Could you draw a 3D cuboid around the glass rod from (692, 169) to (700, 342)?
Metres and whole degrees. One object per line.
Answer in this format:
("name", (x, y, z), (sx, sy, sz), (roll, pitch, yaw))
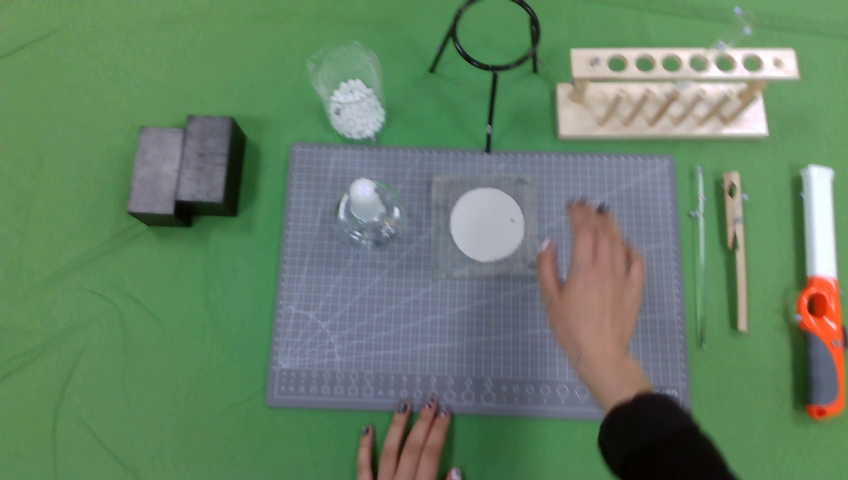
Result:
("glass rod", (0.307, 0.015, 0.683), (0.008, 0.008, 0.199), (5, 79, 1))

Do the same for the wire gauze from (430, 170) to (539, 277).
("wire gauze", (0.067, -0.020, 0.687), (0.121, 0.011, 0.124), (0, 79, -1))

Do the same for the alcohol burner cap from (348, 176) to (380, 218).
("alcohol burner cap", (-0.061, -0.046, 0.601), (0.034, 0.048, 0.033), (1, 66, -3))

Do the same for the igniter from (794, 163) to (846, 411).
("igniter", (0.433, 0.048, 0.665), (0.057, 0.025, 0.275), (9, 76, -8))

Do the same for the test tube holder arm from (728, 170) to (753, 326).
("test tube holder arm", (0.352, 0.007, 0.676), (0.013, 0.015, 0.177), (-11, 71, 36))

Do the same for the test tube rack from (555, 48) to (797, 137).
("test tube rack", (0.279, -0.165, 0.687), (0.242, 0.085, 0.066), (0, 76, 0))

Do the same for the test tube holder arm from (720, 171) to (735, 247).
("test tube holder arm", (0.348, -0.036, 0.691), (0.010, 0.015, 0.087), (-9, 72, 37))

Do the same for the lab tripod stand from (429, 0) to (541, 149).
("lab tripod stand", (0.069, -0.193, 0.667), (0.148, 0.132, 0.147), (0, 75, 2))

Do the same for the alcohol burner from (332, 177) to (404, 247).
("alcohol burner", (-0.061, -0.035, 0.636), (0.078, 0.120, 0.077), (0, 74, 1))

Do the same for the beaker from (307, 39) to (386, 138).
("beaker", (-0.083, -0.165, 0.678), (0.084, 0.101, 0.073), (20, 76, 6))

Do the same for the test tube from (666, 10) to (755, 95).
("test tube", (0.298, -0.192, 0.643), (0.017, 0.150, 0.017), (1, 75, -6))
